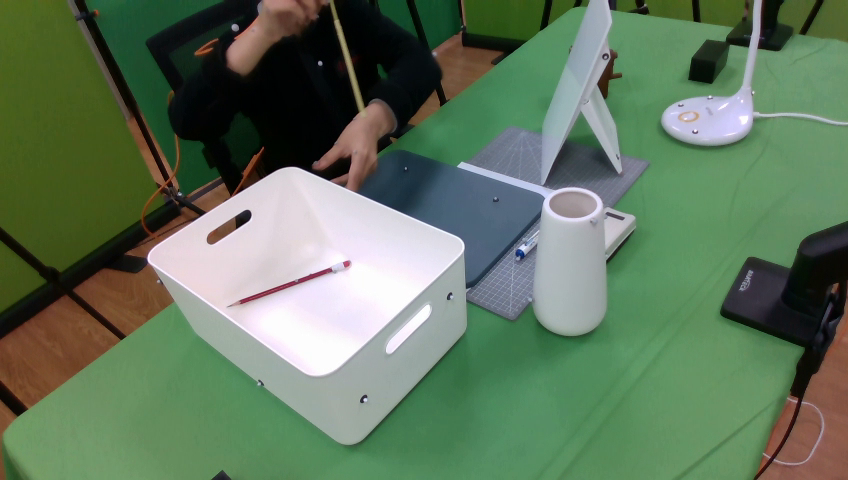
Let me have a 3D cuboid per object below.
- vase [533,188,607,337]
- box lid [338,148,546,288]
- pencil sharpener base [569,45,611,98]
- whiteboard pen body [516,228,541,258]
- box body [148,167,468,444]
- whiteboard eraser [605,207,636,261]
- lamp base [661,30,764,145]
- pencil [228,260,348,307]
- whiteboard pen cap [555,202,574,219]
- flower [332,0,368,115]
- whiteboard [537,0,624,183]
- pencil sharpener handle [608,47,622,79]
[{"bbox_3d":[0.187,0.033,0.771,0.098,0.201,0.097,-6,41,6],"label":"vase"},{"bbox_3d":[-0.002,-0.055,1.052,0.368,0.015,0.264,23,49,32],"label":"box lid"},{"bbox_3d":[0.346,-0.352,1.262,0.077,0.107,0.061,-10,40,-1],"label":"pencil sharpener base"},{"bbox_3d":[0.192,-0.015,0.964,0.017,0.017,0.141,26,51,34],"label":"whiteboard pen body"},{"bbox_3d":[-0.147,0.072,0.816,0.361,0.161,0.255,24,50,33],"label":"box body"},{"bbox_3d":[0.272,-0.003,0.919,0.055,0.042,0.113,27,51,32],"label":"whiteboard eraser"},{"bbox_3d":[0.535,-0.287,1.096,0.179,0.181,0.159,-10,40,-4],"label":"lamp base"},{"bbox_3d":[-0.210,0.068,0.941,0.194,0.012,0.012,-20,42,-12],"label":"pencil"},{"bbox_3d":[0.230,-0.048,0.994,0.018,0.018,0.033,26,54,34],"label":"whiteboard pen cap"},{"bbox_3d":[-0.135,-0.359,0.884,0.044,0.361,0.038,-14,5,29],"label":"flower"},{"bbox_3d":[0.316,-0.256,1.047,0.144,0.306,0.216,15,42,-1],"label":"whiteboard"},{"bbox_3d":[0.395,-0.369,1.254,0.031,0.068,0.036,-10,32,-1],"label":"pencil sharpener handle"}]
